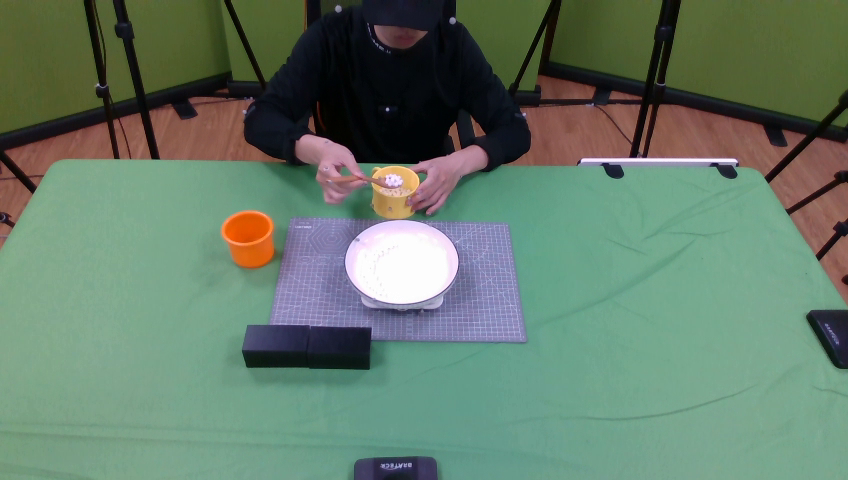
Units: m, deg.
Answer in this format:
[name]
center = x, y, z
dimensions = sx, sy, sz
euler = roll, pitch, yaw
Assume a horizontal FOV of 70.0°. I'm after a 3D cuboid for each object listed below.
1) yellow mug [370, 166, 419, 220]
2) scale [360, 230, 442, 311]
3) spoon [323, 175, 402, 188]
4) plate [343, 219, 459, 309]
[yellow mug]
center = -0.072, -0.107, 1.267
dimensions = 0.100, 0.064, 0.130
euler = -29, 53, -30
[scale]
center = -0.042, 0.047, 1.138
dimensions = 0.149, 0.032, 0.199
euler = 2, 46, -3
[spoon]
center = -0.114, -0.113, 1.138
dimensions = 0.041, 0.022, 0.194
euler = 39, 24, 32
[plate]
center = -0.041, 0.046, 1.094
dimensions = 0.209, 0.038, 0.208
euler = 2, 46, -2
